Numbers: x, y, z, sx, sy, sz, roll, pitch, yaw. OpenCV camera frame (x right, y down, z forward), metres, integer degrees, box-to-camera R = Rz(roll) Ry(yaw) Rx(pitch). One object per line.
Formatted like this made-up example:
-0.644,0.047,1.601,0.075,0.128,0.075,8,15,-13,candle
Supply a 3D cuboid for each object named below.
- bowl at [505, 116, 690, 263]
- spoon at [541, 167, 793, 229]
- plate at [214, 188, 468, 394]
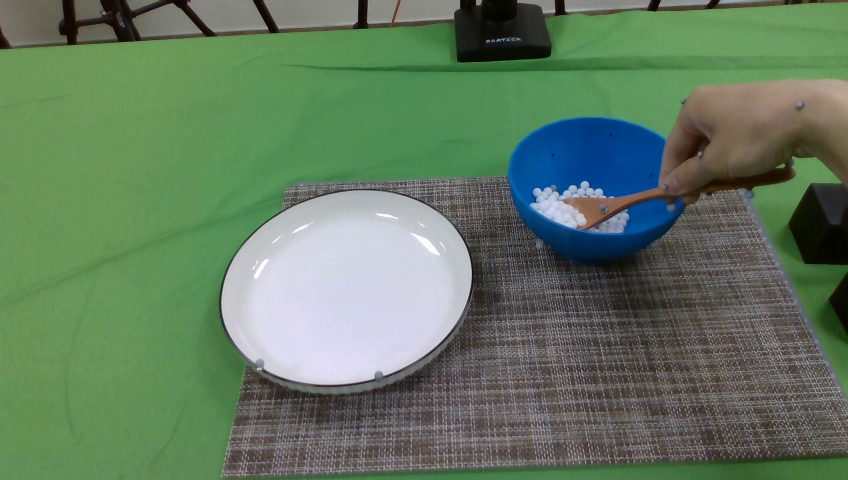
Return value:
0.145,-0.033,0.533,0.151,0.077,0.150,-2,47,3,bowl
0.178,-0.033,0.474,0.193,0.022,0.041,-12,40,44,spoon
-0.067,0.040,0.510,0.207,0.039,0.205,-2,48,2,plate
